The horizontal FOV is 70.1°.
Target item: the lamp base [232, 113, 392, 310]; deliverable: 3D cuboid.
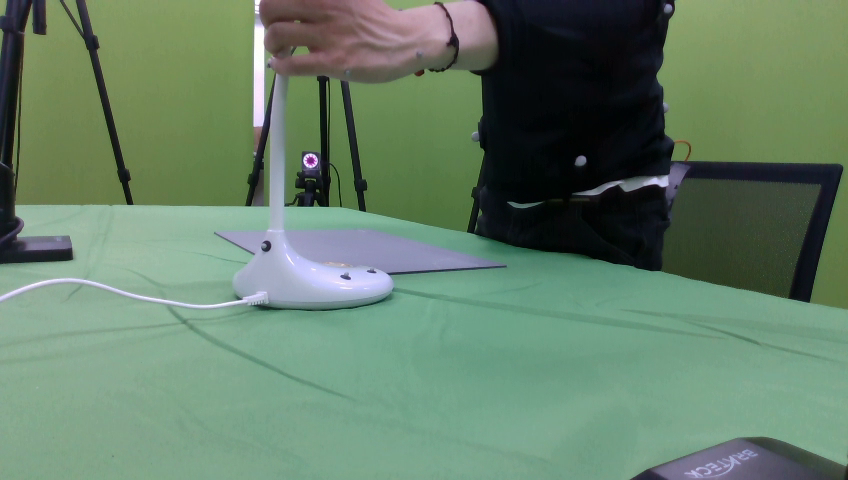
[{"bbox_3d":[-0.113,-0.031,0.593,0.160,0.180,0.179,4,10,18],"label":"lamp base"}]
